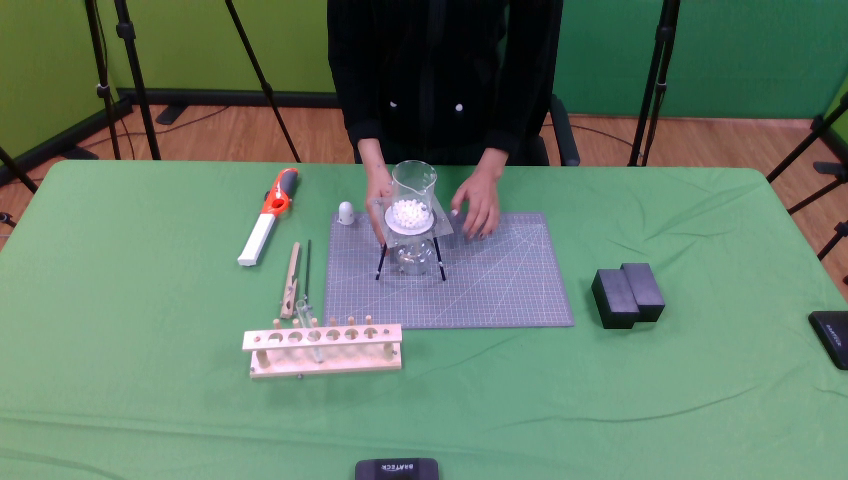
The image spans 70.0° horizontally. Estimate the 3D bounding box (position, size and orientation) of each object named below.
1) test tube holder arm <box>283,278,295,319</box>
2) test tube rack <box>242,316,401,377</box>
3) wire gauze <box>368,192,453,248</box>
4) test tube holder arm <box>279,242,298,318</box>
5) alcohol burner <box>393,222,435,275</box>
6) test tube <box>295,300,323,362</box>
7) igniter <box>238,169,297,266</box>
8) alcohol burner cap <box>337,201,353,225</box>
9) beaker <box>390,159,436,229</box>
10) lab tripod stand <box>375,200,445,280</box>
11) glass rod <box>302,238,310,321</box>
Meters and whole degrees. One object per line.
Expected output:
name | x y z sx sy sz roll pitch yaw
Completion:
test tube holder arm | -0.241 0.103 1.085 0.010 0.015 0.087 25 38 -26
test tube rack | -0.161 0.166 0.983 0.242 0.085 0.066 -2 46 -6
wire gauze | -0.025 -0.041 1.065 0.122 0.011 0.124 -10 46 -18
test tube holder arm | -0.248 0.069 1.114 0.013 0.015 0.177 25 38 -26
alcohol burner | -0.018 0.009 1.122 0.078 0.119 0.077 2 48 -3
test tube | -0.176 0.143 0.935 0.017 0.151 0.017 -2 46 2
igniter | -0.313 -0.055 1.224 0.057 0.025 0.275 1 45 10
alcohol burner cap | -0.161 -0.056 1.224 0.034 0.048 0.033 3 46 -3
beaker | -0.020 -0.073 1.029 0.074 0.101 0.083 -10 48 -16
lab tripod stand | -0.023 0.004 1.113 0.148 0.132 0.147 4 45 -3
glass rod | -0.219 0.069 1.125 0.008 0.008 0.198 -2 47 -5
